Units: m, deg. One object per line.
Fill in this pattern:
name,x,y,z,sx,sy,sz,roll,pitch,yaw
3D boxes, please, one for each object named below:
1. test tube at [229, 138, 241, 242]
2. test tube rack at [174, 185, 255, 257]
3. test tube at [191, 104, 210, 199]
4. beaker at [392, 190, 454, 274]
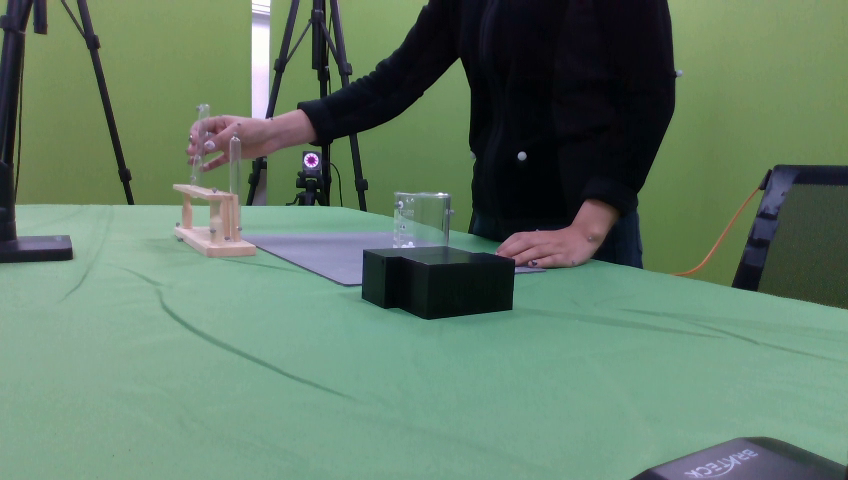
test tube,-0.271,-0.071,0.865,0.017,0.150,0.017,2,8,0
test tube rack,-0.325,-0.035,0.922,0.067,0.085,0.241,-2,9,-32
test tube,-0.352,-0.139,0.951,0.017,0.150,0.017,5,-3,1
beaker,-0.005,-0.011,0.759,0.074,0.100,0.083,-2,8,-32
